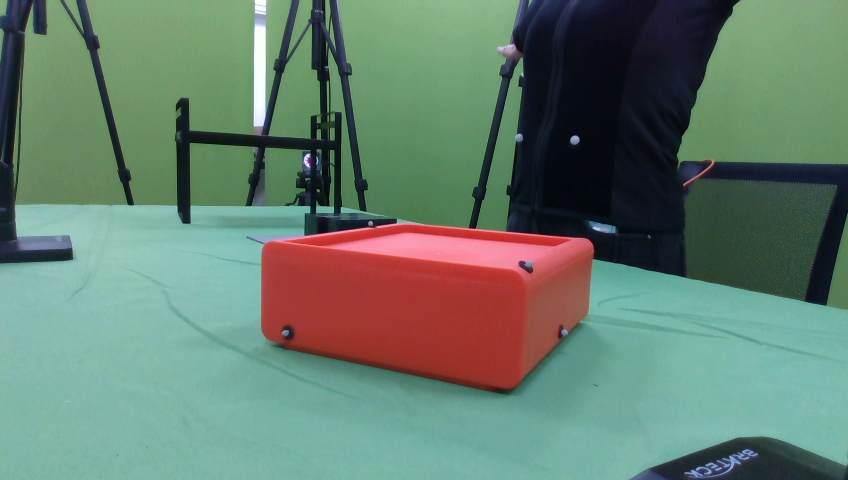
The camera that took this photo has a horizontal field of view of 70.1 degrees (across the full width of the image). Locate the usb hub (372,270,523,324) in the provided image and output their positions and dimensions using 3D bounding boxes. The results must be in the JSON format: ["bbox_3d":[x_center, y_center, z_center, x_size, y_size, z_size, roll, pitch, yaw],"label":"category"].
[{"bbox_3d":[0.020,0.048,0.527,0.124,0.025,0.050,8,7,25],"label":"usb hub"}]

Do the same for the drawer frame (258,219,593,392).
[{"bbox_3d":[0.015,0.036,0.492,0.201,0.082,0.214,6,9,24],"label":"drawer frame"}]

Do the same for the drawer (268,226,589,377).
[{"bbox_3d":[0.015,0.037,0.493,0.194,0.073,0.212,7,8,25],"label":"drawer"}]
